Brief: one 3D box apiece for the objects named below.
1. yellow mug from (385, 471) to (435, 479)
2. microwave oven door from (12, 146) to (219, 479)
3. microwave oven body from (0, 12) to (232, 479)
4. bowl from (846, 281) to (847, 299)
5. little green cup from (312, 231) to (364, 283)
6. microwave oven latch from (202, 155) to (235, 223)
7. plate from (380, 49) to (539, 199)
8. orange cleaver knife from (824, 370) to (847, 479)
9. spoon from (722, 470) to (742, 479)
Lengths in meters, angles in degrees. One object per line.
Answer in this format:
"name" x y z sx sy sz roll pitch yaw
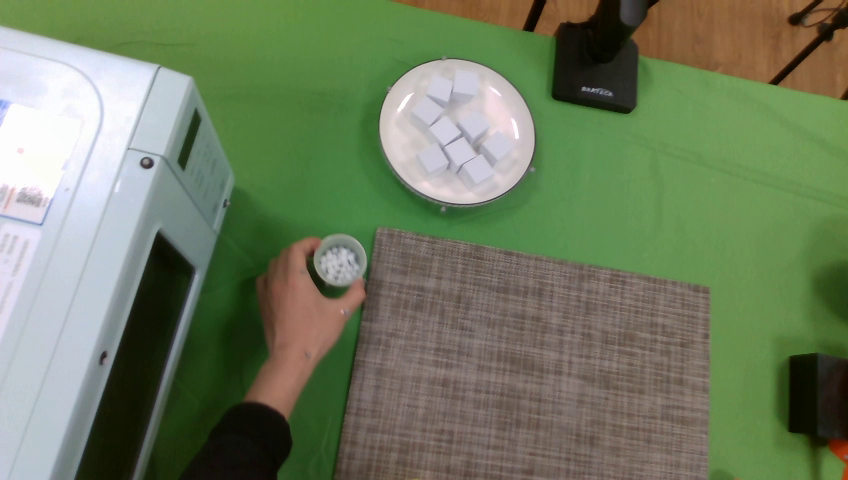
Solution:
"yellow mug" -0.018 0.321 0.651 0.100 0.064 0.130 22 76 -4
"microwave oven door" -0.276 0.119 0.552 0.039 0.244 0.354 13 74 -4
"microwave oven body" -0.410 0.045 0.554 0.327 0.261 0.439 14 75 -6
"bowl" 0.630 0.067 0.811 0.152 0.077 0.150 2 76 -8
"little green cup" -0.102 0.023 0.718 0.062 0.039 0.061 2 78 -7
"microwave oven latch" -0.244 -0.062 0.707 0.030 0.029 0.079 15 75 -5
"plate" 0.045 -0.148 0.795 0.208 0.039 0.206 2 76 -8
"orange cleaver knife" 0.524 0.242 0.749 0.012 0.077 0.211 11 98 -1
"spoon" 0.423 0.362 0.734 0.041 0.022 0.193 -34 83 -32
